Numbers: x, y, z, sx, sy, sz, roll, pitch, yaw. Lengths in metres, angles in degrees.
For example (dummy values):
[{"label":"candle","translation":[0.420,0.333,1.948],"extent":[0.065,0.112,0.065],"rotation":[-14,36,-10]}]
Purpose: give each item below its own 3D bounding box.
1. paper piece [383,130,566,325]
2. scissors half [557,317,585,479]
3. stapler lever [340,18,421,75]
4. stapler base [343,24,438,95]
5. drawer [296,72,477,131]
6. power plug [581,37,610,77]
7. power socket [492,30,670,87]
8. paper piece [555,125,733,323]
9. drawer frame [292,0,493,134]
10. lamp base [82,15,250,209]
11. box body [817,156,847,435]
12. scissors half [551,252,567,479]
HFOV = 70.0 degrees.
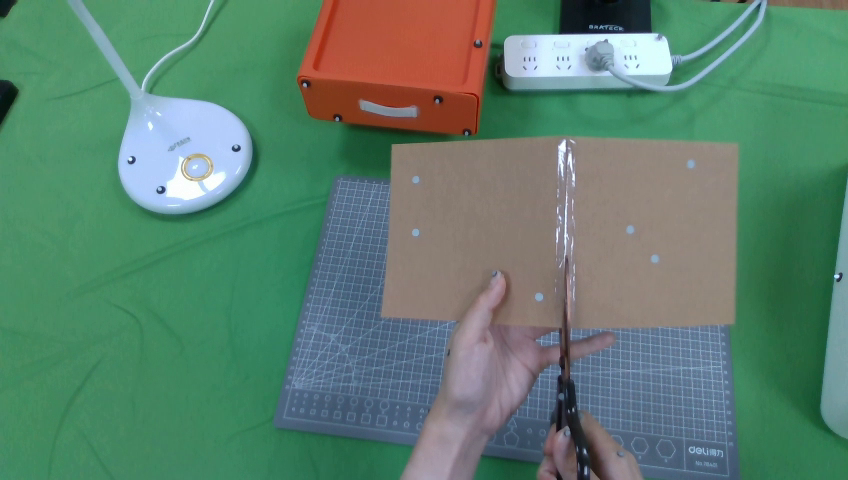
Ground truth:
[{"label":"paper piece","translation":[0.034,-0.009,0.444],"extent":[0.135,0.009,0.138],"rotation":[2,90,22]},{"label":"scissors half","translation":[0.097,0.093,0.411],"extent":[0.013,0.040,0.174],"rotation":[0,70,0]},{"label":"stapler lever","translation":[-0.052,-0.227,0.701],"extent":[0.117,0.040,0.027],"rotation":[35,86,22]},{"label":"stapler base","translation":[-0.044,-0.221,0.725],"extent":[0.129,0.024,0.041],"rotation":[35,86,20]},{"label":"drawer","translation":[-0.026,-0.239,0.714],"extent":[0.194,0.074,0.210],"rotation":[7,64,6]},{"label":"power plug","translation":[0.209,-0.217,0.744],"extent":[0.035,0.053,0.072],"rotation":[10,65,7]},{"label":"power socket","translation":[0.201,-0.233,0.778],"extent":[0.227,0.033,0.071],"rotation":[1,65,2]},{"label":"paper piece","translation":[0.160,-0.009,0.433],"extent":[0.136,0.004,0.135],"rotation":[3,91,-11]},{"label":"drawer frame","translation":[-0.027,-0.241,0.715],"extent":[0.201,0.083,0.212],"rotation":[7,64,6]},{"label":"lamp base","translation":[-0.306,-0.149,0.674],"extent":[0.178,0.182,0.160],"rotation":[37,70,21]},{"label":"box body","translation":[0.541,0.037,0.560],"extent":[0.253,0.161,0.362],"rotation":[19,66,11]},{"label":"scissors half","translation":[0.099,0.094,0.434],"extent":[0.013,0.040,0.176],"rotation":[0,104,5]}]
